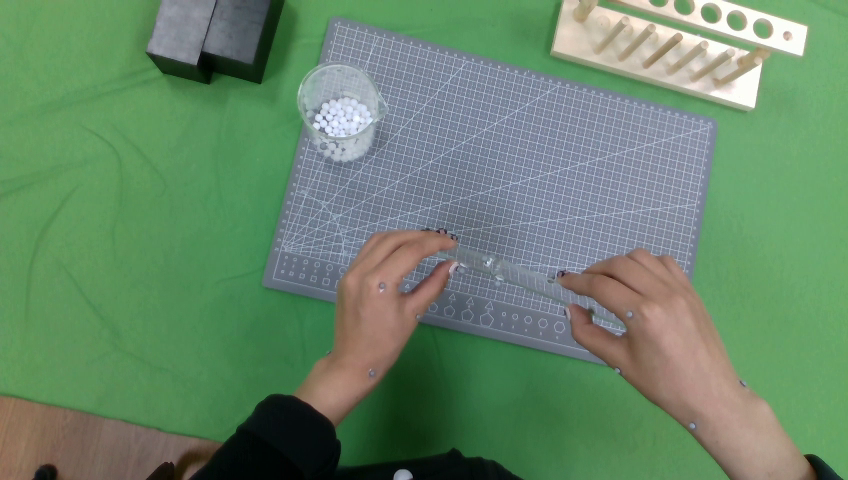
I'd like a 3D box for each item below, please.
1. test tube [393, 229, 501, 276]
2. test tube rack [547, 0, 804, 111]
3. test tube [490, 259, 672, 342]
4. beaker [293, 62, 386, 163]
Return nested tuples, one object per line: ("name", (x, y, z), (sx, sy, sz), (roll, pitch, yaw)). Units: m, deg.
("test tube", (0.015, 0.009, 0.540), (0.017, 0.149, 0.017), (-9, 105, -33))
("test tube rack", (0.268, -0.215, 0.658), (0.243, 0.085, 0.066), (14, 82, -5))
("test tube", (0.123, 0.048, 0.476), (0.150, 0.017, 0.017), (21, 81, 1))
("beaker", (-0.082, -0.120, 0.597), (0.084, 0.100, 0.074), (6, 83, -6))
